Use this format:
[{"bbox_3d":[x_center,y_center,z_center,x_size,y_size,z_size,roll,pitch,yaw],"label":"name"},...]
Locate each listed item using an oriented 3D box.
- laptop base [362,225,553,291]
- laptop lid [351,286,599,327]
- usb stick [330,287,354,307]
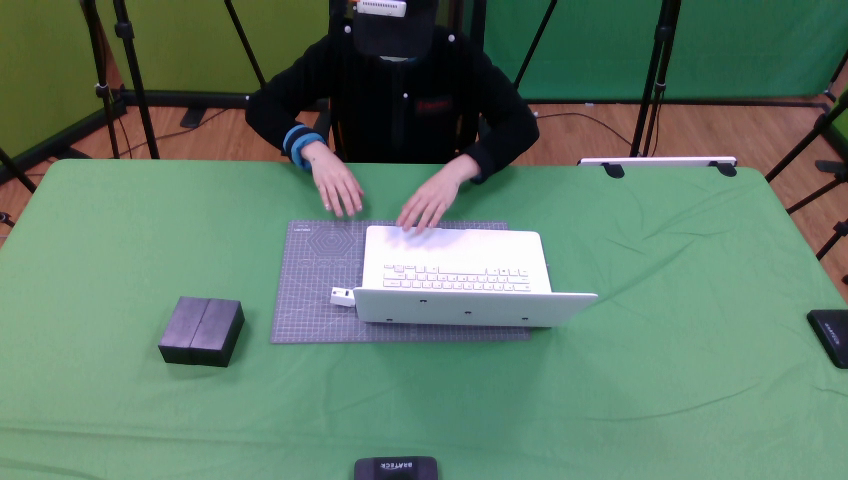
[{"bbox_3d":[0.061,0.063,1.145,0.354,0.023,0.234,2,43,-3],"label":"laptop base"},{"bbox_3d":[0.068,0.109,0.952,0.357,0.242,0.013,2,71,-4],"label":"laptop lid"},{"bbox_3d":[-0.135,0.101,1.068,0.059,0.027,0.021,13,43,-9],"label":"usb stick"}]
